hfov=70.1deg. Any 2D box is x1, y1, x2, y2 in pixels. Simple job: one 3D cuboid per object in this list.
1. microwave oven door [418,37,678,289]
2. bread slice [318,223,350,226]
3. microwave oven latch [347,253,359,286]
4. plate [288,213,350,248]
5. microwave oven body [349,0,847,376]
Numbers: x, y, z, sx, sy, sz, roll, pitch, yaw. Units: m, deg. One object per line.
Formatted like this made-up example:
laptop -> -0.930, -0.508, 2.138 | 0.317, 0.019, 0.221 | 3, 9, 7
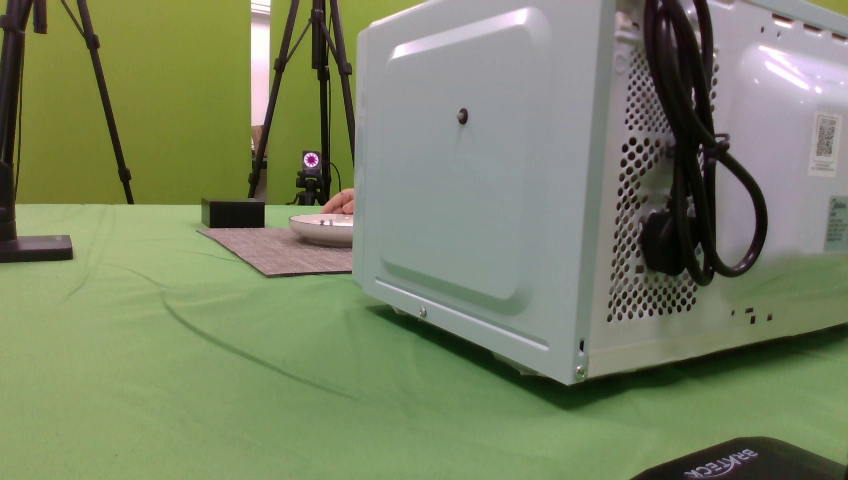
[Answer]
microwave oven door -> 0.159, -0.079, 0.684 | 0.358, 0.243, 0.039 | -2, 9, -32
bread slice -> -0.122, -0.015, 1.004 | 0.131, 0.019, 0.105 | 4, 7, 12
microwave oven latch -> -0.034, 0.028, 0.581 | 0.079, 0.029, 0.030 | -1, 7, -31
plate -> -0.121, -0.017, 1.008 | 0.209, 0.038, 0.209 | 3, 8, 0
microwave oven body -> 0.199, -0.053, 0.539 | 0.444, 0.260, 0.324 | -1, 8, -32
